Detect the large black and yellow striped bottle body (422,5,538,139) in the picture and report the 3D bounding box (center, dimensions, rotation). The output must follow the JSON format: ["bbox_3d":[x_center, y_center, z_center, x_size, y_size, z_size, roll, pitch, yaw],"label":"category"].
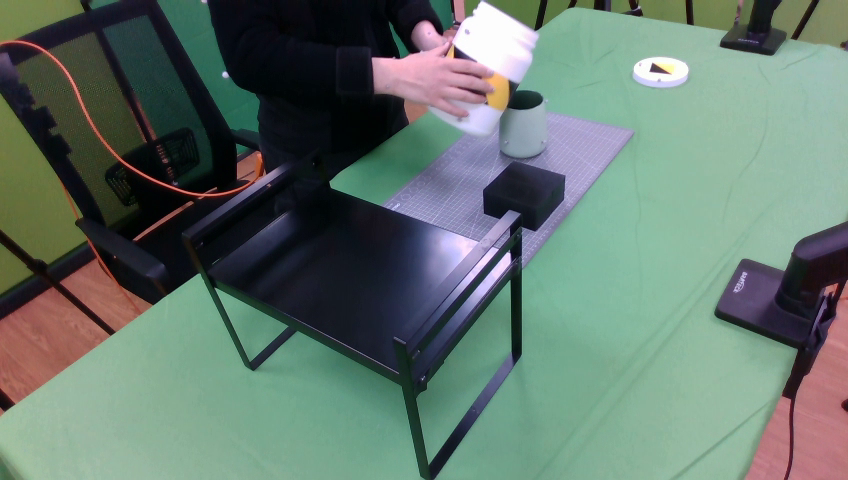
[{"bbox_3d":[0.094,-0.276,0.998,0.131,0.184,0.130,28,20,-11],"label":"large black and yellow striped bottle body"}]

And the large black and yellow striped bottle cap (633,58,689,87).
[{"bbox_3d":[0.521,-0.370,1.332,0.115,0.019,0.114,-3,41,3],"label":"large black and yellow striped bottle cap"}]

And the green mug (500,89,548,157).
[{"bbox_3d":[0.195,-0.229,1.145,0.092,0.105,0.125,15,46,25],"label":"green mug"}]
